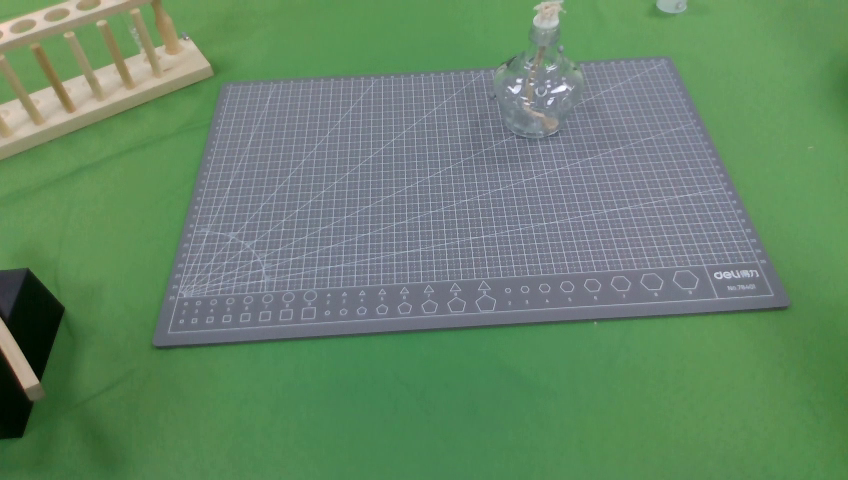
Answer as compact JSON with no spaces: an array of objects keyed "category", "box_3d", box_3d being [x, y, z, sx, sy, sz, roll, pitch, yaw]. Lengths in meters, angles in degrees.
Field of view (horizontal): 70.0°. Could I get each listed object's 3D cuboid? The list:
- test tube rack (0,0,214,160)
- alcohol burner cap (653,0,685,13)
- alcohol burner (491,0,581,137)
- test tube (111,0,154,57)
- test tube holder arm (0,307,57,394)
[{"category":"test tube rack","box_3d":[-0.335,-0.160,0.567,0.242,0.086,0.066,-29,55,-19]},{"category":"alcohol burner cap","box_3d":[0.271,-0.274,0.656,0.034,0.048,0.033,-2,52,3]},{"category":"alcohol burner","box_3d":[0.097,-0.148,0.515,0.078,0.120,0.077,-1,50,2]},{"category":"test tube","box_3d":[-0.290,-0.236,0.561,0.017,0.152,0.017,-5,51,6]},{"category":"test tube holder arm","box_3d":[-0.284,0.039,0.388,0.177,0.015,0.013,34,53,24]}]
